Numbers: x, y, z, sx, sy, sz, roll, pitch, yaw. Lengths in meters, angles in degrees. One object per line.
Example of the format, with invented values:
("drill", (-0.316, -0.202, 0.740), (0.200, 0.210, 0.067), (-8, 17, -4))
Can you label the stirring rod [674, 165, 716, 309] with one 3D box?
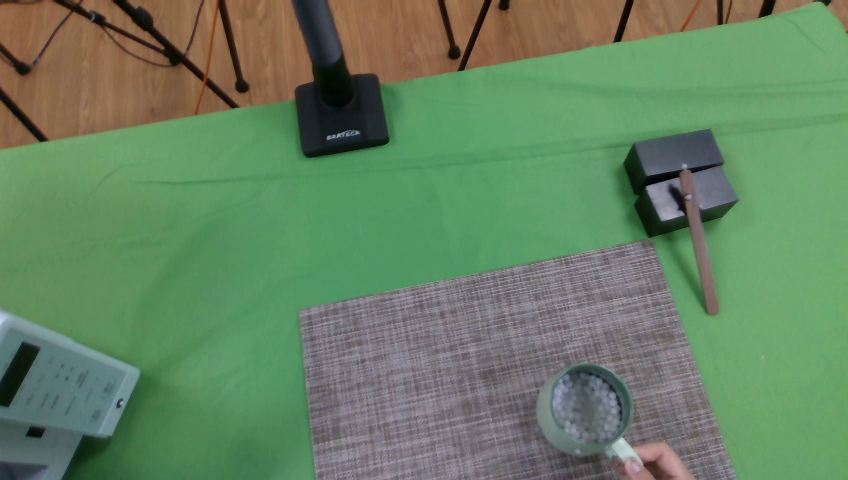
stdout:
("stirring rod", (0.324, -0.003, 0.723), (0.014, 0.006, 0.176), (-13, 93, 8))

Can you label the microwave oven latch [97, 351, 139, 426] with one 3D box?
("microwave oven latch", (-0.353, 0.167, 0.683), (0.030, 0.030, 0.079), (17, 71, 8))

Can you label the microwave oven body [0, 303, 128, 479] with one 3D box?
("microwave oven body", (-0.551, 0.249, 0.553), (0.325, 0.262, 0.439), (16, 70, 8))

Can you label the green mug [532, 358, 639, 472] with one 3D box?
("green mug", (0.172, 0.182, 0.624), (0.092, 0.105, 0.124), (-37, 72, -8))
